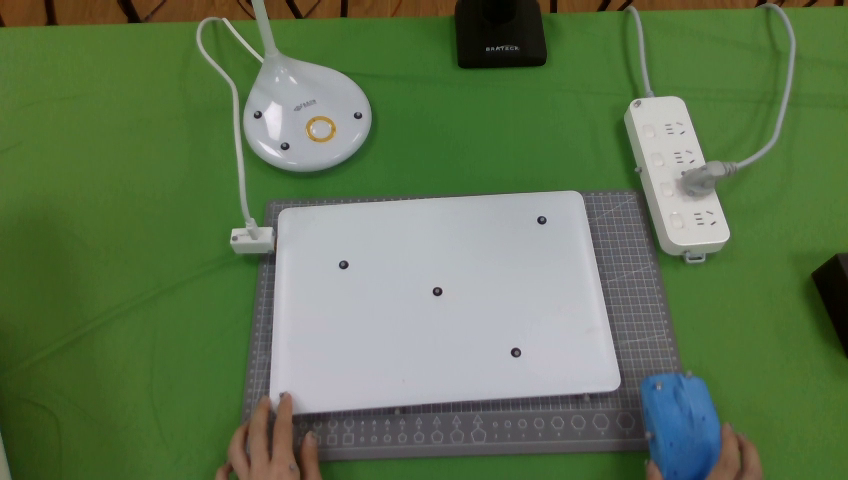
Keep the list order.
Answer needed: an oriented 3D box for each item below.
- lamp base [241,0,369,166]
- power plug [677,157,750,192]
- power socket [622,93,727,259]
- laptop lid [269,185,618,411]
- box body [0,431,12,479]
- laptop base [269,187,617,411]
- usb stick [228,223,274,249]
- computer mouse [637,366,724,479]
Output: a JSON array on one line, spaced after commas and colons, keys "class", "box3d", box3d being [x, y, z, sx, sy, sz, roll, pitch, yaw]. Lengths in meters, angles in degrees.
[{"class": "lamp base", "box3d": [-0.159, -0.204, 0.703, 0.160, 0.182, 0.178, -38, 66, -18]}, {"class": "power plug", "box3d": [0.326, -0.069, 0.689, 0.072, 0.053, 0.035, 6, 62, 1]}, {"class": "power socket", "box3d": [0.294, -0.085, 0.723, 0.072, 0.033, 0.224, -3, 63, -3]}, {"class": "laptop lid", "box3d": [0.013, 0.053, 0.648, 0.357, 0.013, 0.239, -2, 66, -1]}, {"class": "box body", "box3d": [-0.533, 0.187, 0.515, 0.254, 0.161, 0.361, -27, 66, -13]}, {"class": "laptop base", "box3d": [0.014, 0.056, 0.660, 0.354, 0.023, 0.233, -4, 67, -2]}, {"class": "usb stick", "box3d": [-0.185, -0.004, 0.677, 0.059, 0.027, 0.021, 1, 58, -3]}, {"class": "computer mouse", "box3d": [0.239, 0.173, 0.567, 0.063, 0.041, 0.116, 1, 58, 4]}]
